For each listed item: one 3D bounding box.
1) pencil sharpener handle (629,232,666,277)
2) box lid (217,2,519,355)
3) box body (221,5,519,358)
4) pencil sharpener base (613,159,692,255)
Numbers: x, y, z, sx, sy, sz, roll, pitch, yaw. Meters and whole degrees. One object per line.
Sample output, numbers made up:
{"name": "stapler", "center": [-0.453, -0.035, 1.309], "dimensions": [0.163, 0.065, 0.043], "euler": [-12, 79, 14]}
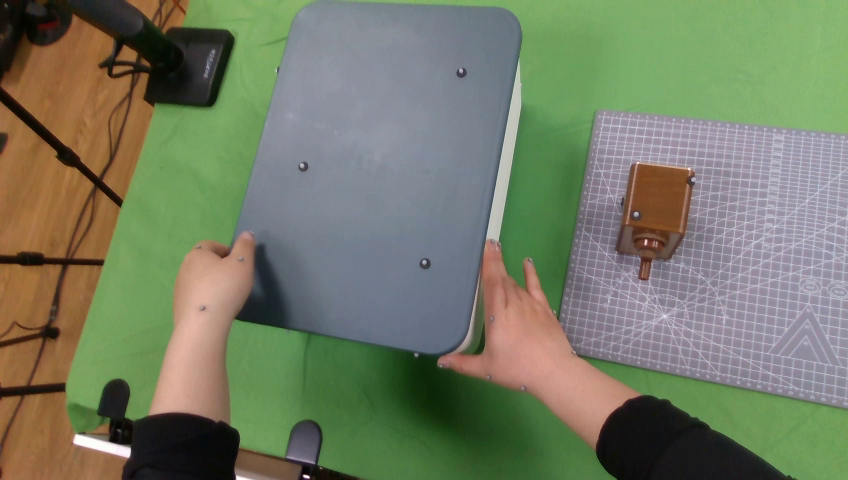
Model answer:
{"name": "pencil sharpener handle", "center": [0.227, 0.016, 0.622], "dimensions": [0.036, 0.068, 0.030], "euler": [7, 76, 23]}
{"name": "box lid", "center": [-0.055, -0.083, 0.623], "dimensions": [0.262, 0.015, 0.370], "euler": [7, 76, 14]}
{"name": "box body", "center": [-0.040, -0.060, 0.692], "dimensions": [0.253, 0.161, 0.362], "euler": [7, 76, 15]}
{"name": "pencil sharpener base", "center": [0.239, -0.029, 0.645], "dimensions": [0.061, 0.108, 0.076], "euler": [9, 77, 15]}
